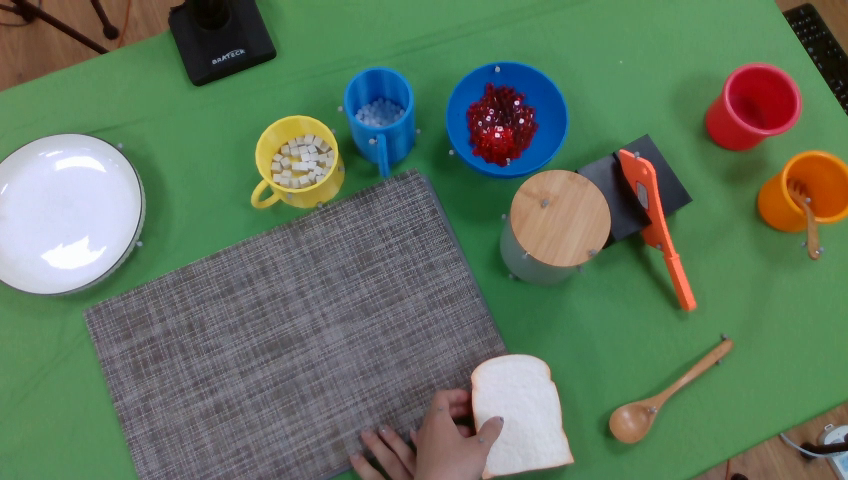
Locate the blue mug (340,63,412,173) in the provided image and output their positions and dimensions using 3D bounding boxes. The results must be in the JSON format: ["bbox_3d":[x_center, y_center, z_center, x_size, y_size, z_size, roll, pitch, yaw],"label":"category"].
[{"bbox_3d":[-0.056,-0.141,0.750,0.082,0.106,0.116,-4,77,-1],"label":"blue mug"}]

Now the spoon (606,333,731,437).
[{"bbox_3d":[0.297,0.169,0.724,0.194,0.022,0.041,-34,61,-8],"label":"spoon"}]

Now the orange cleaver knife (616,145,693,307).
[{"bbox_3d":[0.278,-0.017,0.736,0.012,0.077,0.212,-25,104,-6],"label":"orange cleaver knife"}]

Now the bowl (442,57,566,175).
[{"bbox_3d":[0.097,-0.144,0.767,0.151,0.077,0.150,0,77,0],"label":"bowl"}]

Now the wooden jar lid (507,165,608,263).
[{"bbox_3d":[0.142,-0.027,0.650,0.108,0.021,0.108,1,78,-3],"label":"wooden jar lid"}]

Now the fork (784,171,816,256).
[{"bbox_3d":[0.442,-0.035,0.708,0.028,0.019,0.206,39,35,1],"label":"fork"}]

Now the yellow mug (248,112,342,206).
[{"bbox_3d":[-0.168,-0.090,0.757,0.099,0.064,0.131,44,81,9],"label":"yellow mug"}]

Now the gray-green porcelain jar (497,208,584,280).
[{"bbox_3d":[0.143,-0.011,0.711,0.106,0.127,0.105,0,76,-1],"label":"gray-green porcelain jar"}]

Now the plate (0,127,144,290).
[{"bbox_3d":[-0.450,-0.038,0.755,0.208,0.039,0.206,0,77,-1],"label":"plate"}]
